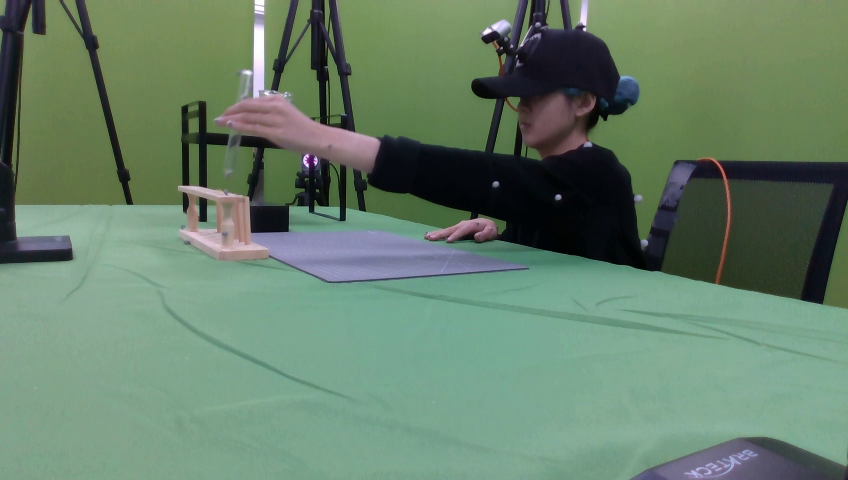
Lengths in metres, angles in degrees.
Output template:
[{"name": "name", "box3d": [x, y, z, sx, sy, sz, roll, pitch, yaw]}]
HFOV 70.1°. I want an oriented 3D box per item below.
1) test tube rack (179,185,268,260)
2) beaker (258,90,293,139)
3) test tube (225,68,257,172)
[{"name": "test tube rack", "box3d": [-0.303, -0.031, 0.898, 0.067, 0.085, 0.241, -2, 8, -33]}, {"name": "beaker", "box3d": [-0.324, -0.274, 1.326, 0.074, 0.100, 0.083, -2, 10, -33]}, {"name": "test tube", "box3d": [-0.265, -0.173, 0.874, 0.017, 0.150, 0.017, 14, 5, -1]}]
